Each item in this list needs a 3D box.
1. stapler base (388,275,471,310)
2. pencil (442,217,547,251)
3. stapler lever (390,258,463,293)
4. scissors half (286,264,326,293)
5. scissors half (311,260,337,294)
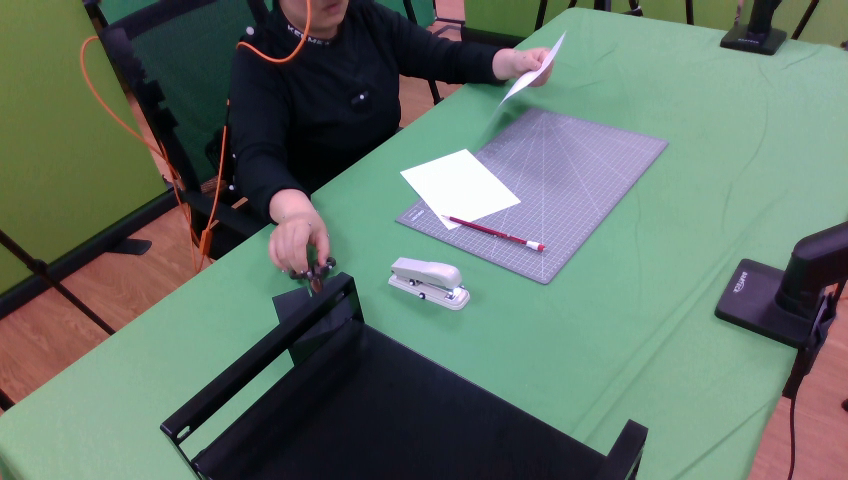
[{"bbox_3d":[0.007,0.066,0.897,0.129,0.024,0.041,17,43,29],"label":"stapler base"},{"bbox_3d":[0.110,-0.012,0.979,0.192,0.012,0.012,18,46,30],"label":"pencil"},{"bbox_3d":[0.002,0.046,0.881,0.117,0.040,0.027,17,44,29],"label":"stapler lever"},{"bbox_3d":[-0.169,0.058,0.886,0.040,0.013,0.174,-20,15,-23],"label":"scissors half"},{"bbox_3d":[-0.149,0.054,0.890,0.040,0.013,0.174,-10,13,-4],"label":"scissors half"}]
